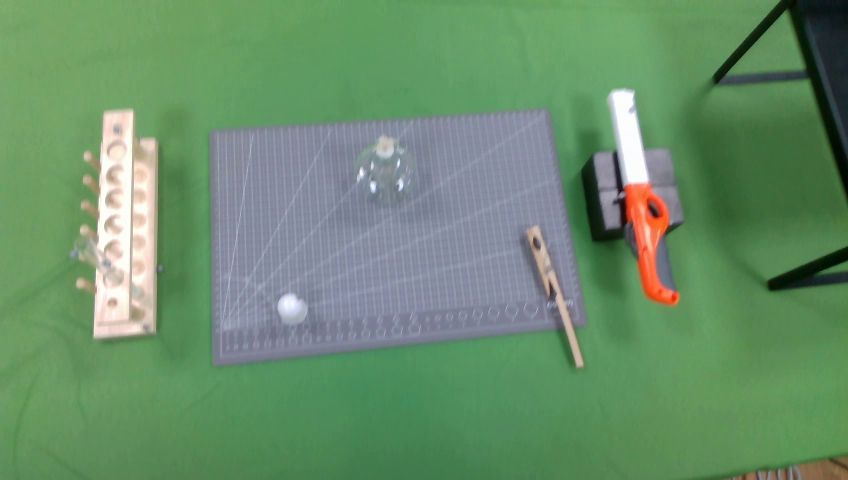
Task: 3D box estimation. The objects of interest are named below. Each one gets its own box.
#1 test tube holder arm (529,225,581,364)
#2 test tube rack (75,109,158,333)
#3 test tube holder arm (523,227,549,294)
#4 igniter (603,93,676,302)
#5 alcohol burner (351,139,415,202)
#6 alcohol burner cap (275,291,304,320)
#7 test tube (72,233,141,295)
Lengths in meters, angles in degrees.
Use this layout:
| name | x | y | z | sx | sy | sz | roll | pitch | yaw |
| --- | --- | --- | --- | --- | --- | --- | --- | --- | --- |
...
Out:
| name | x | y | z | sx | sy | sz | roll | pitch | yaw |
| --- | --- | --- | --- | --- | --- | --- | --- | --- | --- |
| test tube holder arm | 0.162 | 0.066 | 0.749 | 0.013 | 0.015 | 0.177 | -21 | 78 | 13 |
| test tube rack | -0.357 | -0.021 | 0.699 | 0.067 | 0.085 | 0.241 | -5 | 74 | -6 |
| test tube holder arm | 0.143 | 0.026 | 0.759 | 0.010 | 0.015 | 0.087 | -20 | 78 | 14 |
| igniter | 0.261 | -0.057 | 0.742 | 0.057 | 0.025 | 0.274 | -3 | 71 | -8 |
| alcohol burner | -0.050 | -0.091 | 0.728 | 0.078 | 0.119 | 0.077 | 1 | 74 | -2 |
| alcohol burner cap | -0.159 | 0.074 | 0.707 | 0.034 | 0.048 | 0.033 | 2 | 73 | -5 |
| test tube | -0.328 | 0.029 | 0.635 | 0.017 | 0.151 | 0.017 | 2 | 67 | -5 |
